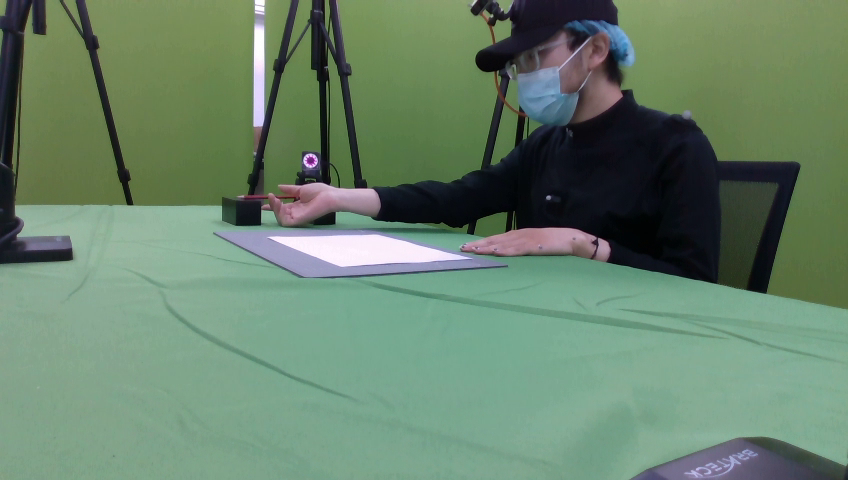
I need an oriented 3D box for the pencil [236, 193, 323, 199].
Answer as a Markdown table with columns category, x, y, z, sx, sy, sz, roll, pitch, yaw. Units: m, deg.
| category | x | y | z | sx | sy | sz | roll | pitch | yaw |
| --- | --- | --- | --- | --- | --- | --- | --- | --- | --- |
| pencil | -0.302 | -0.092 | 1.279 | 0.195 | 0.012 | 0.012 | -4 | 10 | -36 |
